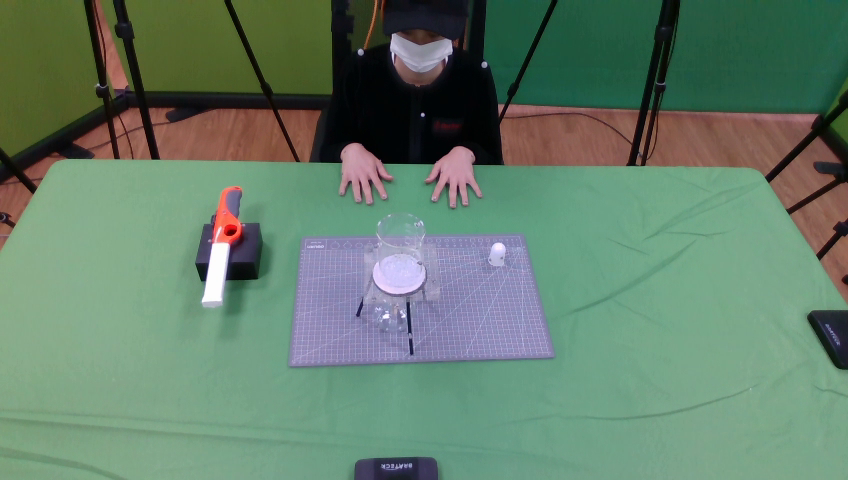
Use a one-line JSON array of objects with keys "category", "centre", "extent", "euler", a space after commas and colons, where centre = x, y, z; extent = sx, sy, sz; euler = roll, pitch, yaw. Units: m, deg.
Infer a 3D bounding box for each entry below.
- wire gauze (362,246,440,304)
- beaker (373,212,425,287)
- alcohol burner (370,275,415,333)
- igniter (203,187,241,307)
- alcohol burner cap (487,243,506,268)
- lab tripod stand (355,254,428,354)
[{"category": "wire gauze", "centre": [-0.038, 0.052, 0.972], "extent": [0.121, 0.011, 0.124], "euler": [0, 44, -5]}, {"category": "beaker", "centre": [-0.036, 0.019, 0.936], "extent": [0.074, 0.101, 0.083], "euler": [-29, 54, -26]}, {"category": "alcohol burner", "centre": [-0.054, 0.103, 1.026], "extent": [0.078, 0.120, 0.077], "euler": [1, 44, -1]}, {"category": "igniter", "centre": [-0.365, 0.003, 1.098], "extent": [0.057, 0.025, 0.274], "euler": [-1, 49, -7]}, {"category": "alcohol burner cap", "centre": [0.141, 0.027, 1.166], "extent": [0.034, 0.048, 0.033], "euler": [2, 45, -2]}, {"category": "lab tripod stand", "centre": [-0.046, 0.100, 1.017], "extent": [0.148, 0.132, 0.147], "euler": [1, 47, -1]}]
